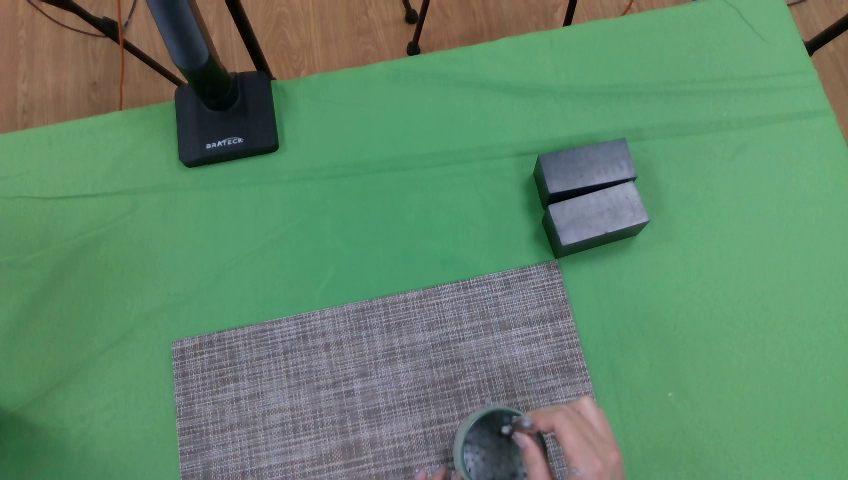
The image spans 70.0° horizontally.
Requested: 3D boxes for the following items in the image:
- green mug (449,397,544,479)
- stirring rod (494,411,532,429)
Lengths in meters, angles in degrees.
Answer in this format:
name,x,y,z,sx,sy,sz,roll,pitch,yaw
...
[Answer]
name,x,y,z,sx,sy,sz,roll,pitch,yaw
green mug,0.079,0.213,0.587,0.092,0.105,0.124,-28,74,-6
stirring rod,0.077,0.162,0.540,0.014,0.177,0.006,13,72,6
